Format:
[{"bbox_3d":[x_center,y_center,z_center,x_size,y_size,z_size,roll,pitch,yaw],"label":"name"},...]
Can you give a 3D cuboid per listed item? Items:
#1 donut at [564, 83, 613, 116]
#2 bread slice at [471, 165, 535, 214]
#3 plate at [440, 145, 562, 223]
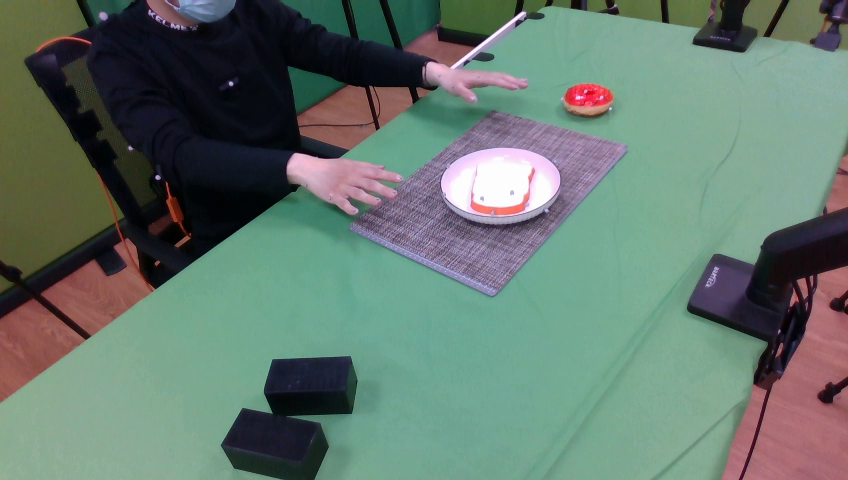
[{"bbox_3d":[0.336,-0.288,1.239,0.099,0.048,0.098,-3,39,3],"label":"donut"},{"bbox_3d":[0.134,-0.090,1.039,0.104,0.019,0.131,3,40,13],"label":"bread slice"},{"bbox_3d":[0.131,-0.093,1.040,0.207,0.039,0.206,-4,41,4],"label":"plate"}]
